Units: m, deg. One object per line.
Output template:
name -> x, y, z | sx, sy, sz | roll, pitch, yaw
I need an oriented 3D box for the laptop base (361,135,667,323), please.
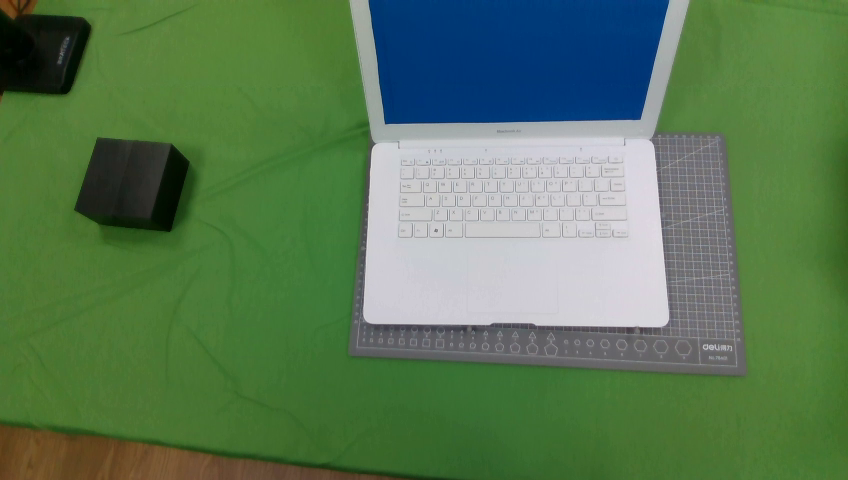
laptop base -> 0.104, -0.016, 0.735 | 0.354, 0.023, 0.234 | 0, 76, 4

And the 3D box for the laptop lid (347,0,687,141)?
laptop lid -> 0.099, -0.205, 0.681 | 0.356, 0.244, 0.013 | -1, 48, 5
